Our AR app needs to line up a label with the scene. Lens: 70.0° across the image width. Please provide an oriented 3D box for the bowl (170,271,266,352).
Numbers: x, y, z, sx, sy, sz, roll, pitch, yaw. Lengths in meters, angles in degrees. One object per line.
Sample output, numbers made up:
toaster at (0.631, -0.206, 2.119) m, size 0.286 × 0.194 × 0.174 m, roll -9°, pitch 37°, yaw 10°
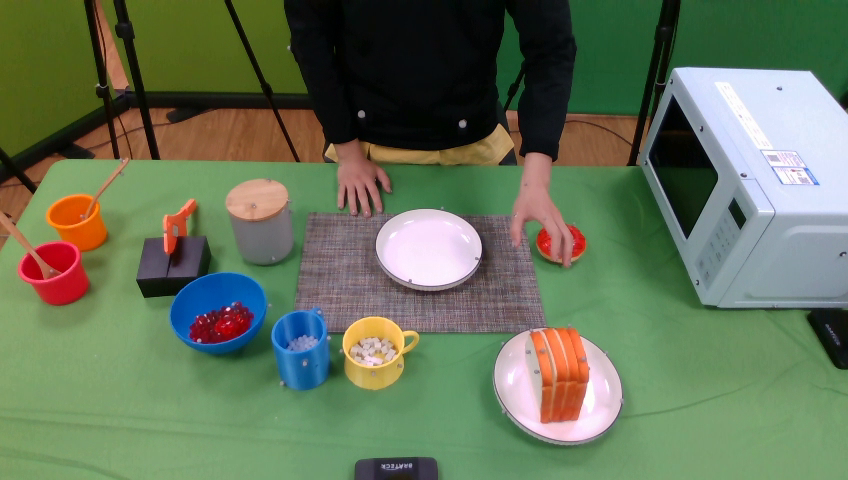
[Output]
bowl at (-0.333, 0.132, 1.006) m, size 0.151 × 0.077 × 0.150 m, roll 2°, pitch 46°, yaw -2°

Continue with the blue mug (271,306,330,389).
blue mug at (-0.188, 0.163, 0.969) m, size 0.082 × 0.106 × 0.116 m, roll 15°, pitch 47°, yaw 10°

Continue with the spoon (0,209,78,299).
spoon at (-0.668, 0.022, 1.040) m, size 0.041 × 0.021 × 0.194 m, roll -41°, pitch 105°, yaw -29°

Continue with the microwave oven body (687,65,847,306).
microwave oven body at (0.669, -0.111, 1.176) m, size 0.326 × 0.261 × 0.439 m, roll 0°, pitch 46°, yaw -3°

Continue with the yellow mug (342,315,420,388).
yellow mug at (-0.068, 0.177, 0.991) m, size 0.131 × 0.064 × 0.099 m, roll -15°, pitch 50°, yaw -19°

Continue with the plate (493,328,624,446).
plate at (0.213, 0.236, 0.974) m, size 0.208 × 0.039 × 0.206 m, roll 2°, pitch 46°, yaw -2°

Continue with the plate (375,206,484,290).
plate at (0.009, 0.019, 1.161) m, size 0.209 × 0.038 × 0.208 m, roll 2°, pitch 47°, yaw -2°

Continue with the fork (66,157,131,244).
fork at (-0.608, -0.074, 1.132) m, size 0.207 × 0.019 × 0.028 m, roll -52°, pitch 48°, yaw 10°

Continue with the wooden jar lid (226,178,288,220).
wooden jar lid at (-0.296, -0.070, 1.081) m, size 0.108 × 0.021 × 0.107 m, roll 1°, pitch 45°, yaw -1°

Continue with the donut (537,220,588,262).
donut at (0.273, 0.000, 1.198) m, size 0.099 × 0.048 × 0.098 m, roll 1°, pitch 47°, yaw 0°

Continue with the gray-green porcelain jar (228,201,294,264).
gray-green porcelain jar at (-0.299, -0.027, 1.126) m, size 0.106 × 0.127 × 0.105 m, roll 2°, pitch 46°, yaw -2°

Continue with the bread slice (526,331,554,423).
bread slice at (0.176, 0.202, 0.929) m, size 0.019 × 0.132 × 0.104 m, roll -9°, pitch 45°, yaw -1°

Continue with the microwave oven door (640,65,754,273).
microwave oven door at (0.523, -0.147, 1.193) m, size 0.039 × 0.245 × 0.353 m, roll 0°, pitch 47°, yaw -3°

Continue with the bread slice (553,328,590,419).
bread slice at (0.226, 0.201, 0.932) m, size 0.018 × 0.135 × 0.106 m, roll -4°, pitch 51°, yaw -4°

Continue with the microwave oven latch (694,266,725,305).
microwave oven latch at (0.523, 0.082, 1.115) m, size 0.030 × 0.029 × 0.078 m, roll 3°, pitch 46°, yaw 0°

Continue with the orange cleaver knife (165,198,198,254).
orange cleaver knife at (-0.458, -0.031, 1.149) m, size 0.012 × 0.077 × 0.210 m, roll -2°, pitch 17°, yaw -6°
